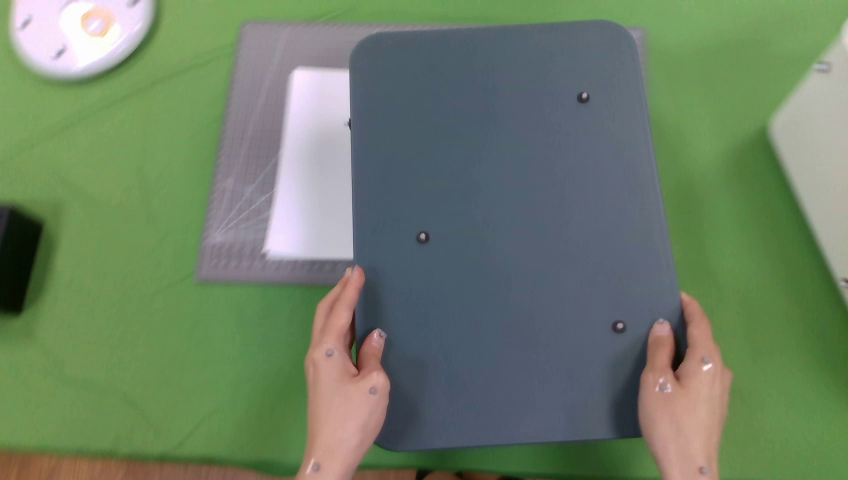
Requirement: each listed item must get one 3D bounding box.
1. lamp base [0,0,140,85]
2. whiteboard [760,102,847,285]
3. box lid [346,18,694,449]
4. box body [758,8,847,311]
[{"bbox_3d":[-0.420,-0.279,0.624,0.178,0.181,0.160,34,77,16],"label":"lamp base"},{"bbox_3d":[0.491,-0.034,0.520,0.217,0.145,0.303,-16,71,-3],"label":"whiteboard"},{"bbox_3d":[0.068,-0.024,0.509,0.263,0.015,0.369,-3,74,-1],"label":"box lid"},{"bbox_3d":[0.488,-0.026,0.507,0.254,0.161,0.361,-16,72,-2],"label":"box body"}]
